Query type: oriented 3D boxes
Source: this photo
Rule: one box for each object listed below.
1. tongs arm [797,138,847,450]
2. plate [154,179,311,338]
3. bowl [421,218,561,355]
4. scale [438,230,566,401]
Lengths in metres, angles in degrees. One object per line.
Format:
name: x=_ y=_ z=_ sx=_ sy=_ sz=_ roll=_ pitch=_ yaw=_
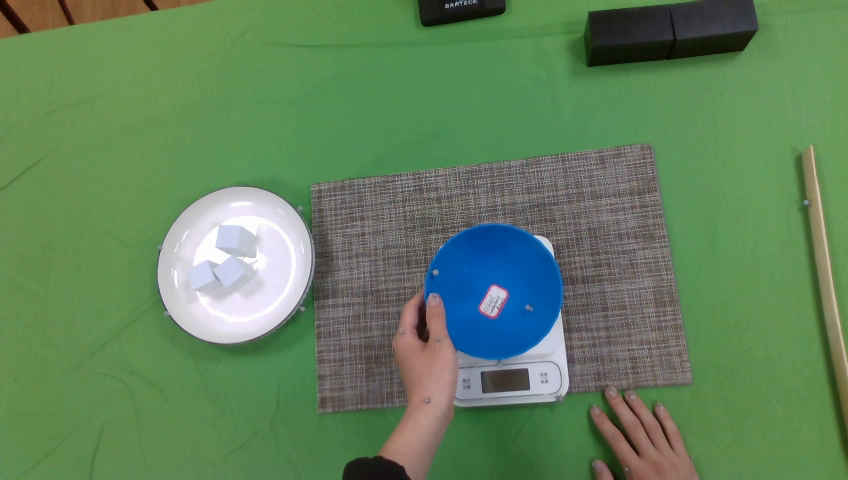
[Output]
tongs arm: x=0.473 y=0.066 z=0.700 sx=0.028 sy=0.028 sz=0.385 roll=-3 pitch=77 yaw=4
plate: x=-0.245 y=0.024 z=0.790 sx=0.207 sy=0.039 sz=0.206 roll=-1 pitch=78 yaw=6
bowl: x=0.076 y=0.057 z=0.683 sx=0.151 sy=0.077 sz=0.150 roll=-2 pitch=76 yaw=8
scale: x=0.089 y=0.089 z=0.734 sx=0.148 sy=0.032 sz=0.200 roll=-5 pitch=77 yaw=6
